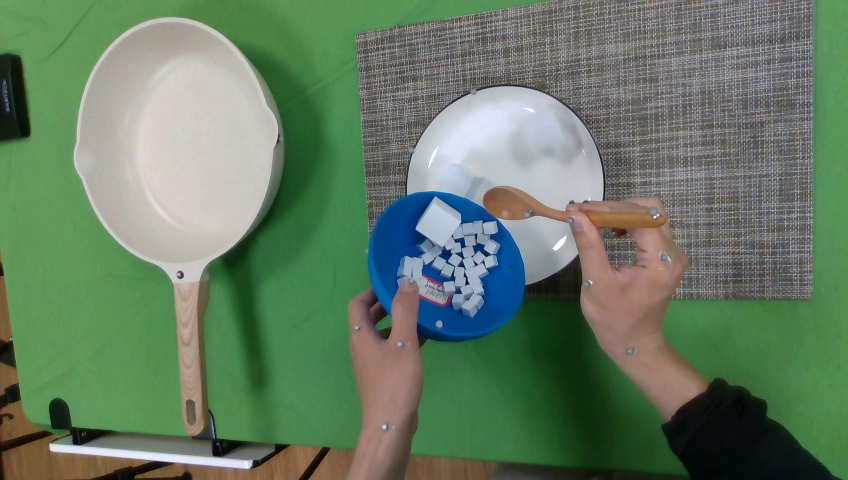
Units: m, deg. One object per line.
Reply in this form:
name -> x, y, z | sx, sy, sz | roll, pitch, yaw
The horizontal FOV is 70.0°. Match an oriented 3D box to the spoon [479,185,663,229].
spoon -> 0.108, -0.022, 0.486 | 0.021, 0.192, 0.042 | -44, 118, -16

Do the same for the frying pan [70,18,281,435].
frying pan -> -0.291, -0.010, 0.738 | 0.306, 0.103, 0.487 | -4, 86, 21

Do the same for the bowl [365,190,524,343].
bowl -> 0.010, 0.036, 0.571 | 0.151, 0.151, 0.077 | 47, 144, 10

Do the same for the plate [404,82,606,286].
plate -> 0.082, -0.055, 0.627 | 0.207, 0.039, 0.208 | 2, 97, 20
